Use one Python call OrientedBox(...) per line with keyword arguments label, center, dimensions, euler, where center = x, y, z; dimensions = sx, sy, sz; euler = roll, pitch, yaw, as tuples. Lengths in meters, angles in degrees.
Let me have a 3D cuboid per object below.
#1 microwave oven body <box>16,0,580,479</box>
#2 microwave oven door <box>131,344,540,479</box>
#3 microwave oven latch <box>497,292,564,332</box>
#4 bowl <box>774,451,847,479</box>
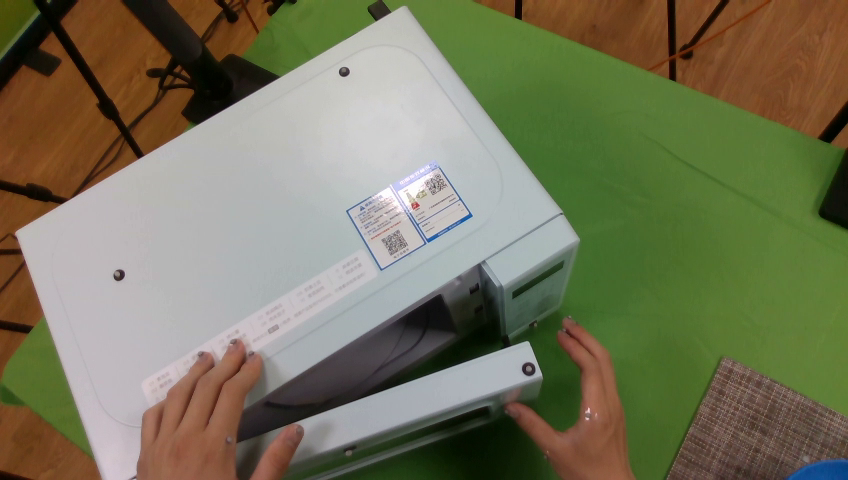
OrientedBox(label="microwave oven body", center=(-0.116, 0.020, 0.654), dimensions=(0.442, 0.262, 0.323), euler=(-32, 70, -3))
OrientedBox(label="microwave oven door", center=(-0.063, 0.186, 0.584), dimensions=(0.356, 0.245, 0.039), euler=(-19, 68, 1))
OrientedBox(label="microwave oven latch", center=(0.124, 0.075, 0.705), dimensions=(0.079, 0.030, 0.030), euler=(-30, 70, -2))
OrientedBox(label="bowl", center=(0.396, 0.284, 0.587), dimensions=(0.151, 0.077, 0.150), euler=(-3, 70, 7))
